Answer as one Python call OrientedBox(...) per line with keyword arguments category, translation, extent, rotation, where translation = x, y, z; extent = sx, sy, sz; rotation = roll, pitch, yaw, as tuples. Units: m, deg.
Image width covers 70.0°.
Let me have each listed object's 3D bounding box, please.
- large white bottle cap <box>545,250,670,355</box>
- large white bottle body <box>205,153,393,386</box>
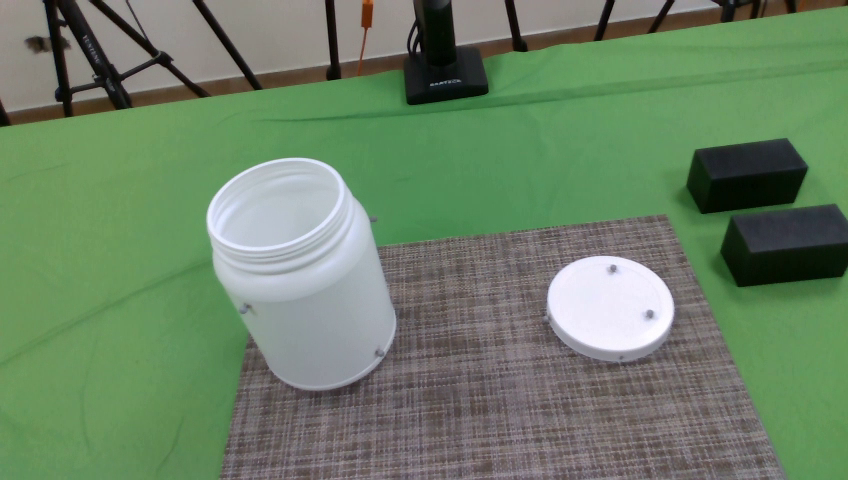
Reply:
OrientedBox(category="large white bottle cap", translation=(0.173, 0.057, 0.577), extent=(0.115, 0.018, 0.113), rotation=(-5, 47, 5))
OrientedBox(category="large white bottle body", translation=(-0.105, 0.029, 0.533), extent=(0.130, 0.186, 0.129), rotation=(-5, 46, 5))
